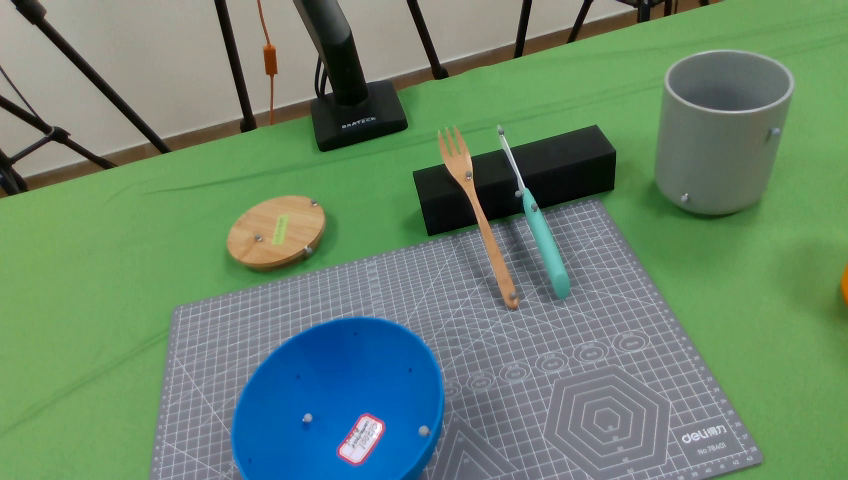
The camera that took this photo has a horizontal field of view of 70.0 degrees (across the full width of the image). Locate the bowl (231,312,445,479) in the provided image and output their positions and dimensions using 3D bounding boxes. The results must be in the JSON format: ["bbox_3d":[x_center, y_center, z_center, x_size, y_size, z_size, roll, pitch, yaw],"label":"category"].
[{"bbox_3d":[-0.054,0.136,0.444,0.151,0.077,0.150,-7,44,7],"label":"bowl"}]

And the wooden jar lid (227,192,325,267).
[{"bbox_3d":[-0.160,-0.011,0.663,0.108,0.021,0.107,-6,45,6],"label":"wooden jar lid"}]

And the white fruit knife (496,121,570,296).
[{"bbox_3d":[0.099,-0.041,0.586,0.016,0.028,0.205,-15,58,-3],"label":"white fruit knife"}]

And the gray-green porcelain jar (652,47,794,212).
[{"bbox_3d":[0.273,-0.098,0.569,0.106,0.128,0.105,-7,44,7],"label":"gray-green porcelain jar"}]

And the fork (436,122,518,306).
[{"bbox_3d":[0.051,-0.030,0.584,0.028,0.019,0.205,-15,62,-8],"label":"fork"}]

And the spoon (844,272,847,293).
[{"bbox_3d":[0.403,-0.014,0.437,0.022,0.194,0.041,24,39,-26],"label":"spoon"}]
